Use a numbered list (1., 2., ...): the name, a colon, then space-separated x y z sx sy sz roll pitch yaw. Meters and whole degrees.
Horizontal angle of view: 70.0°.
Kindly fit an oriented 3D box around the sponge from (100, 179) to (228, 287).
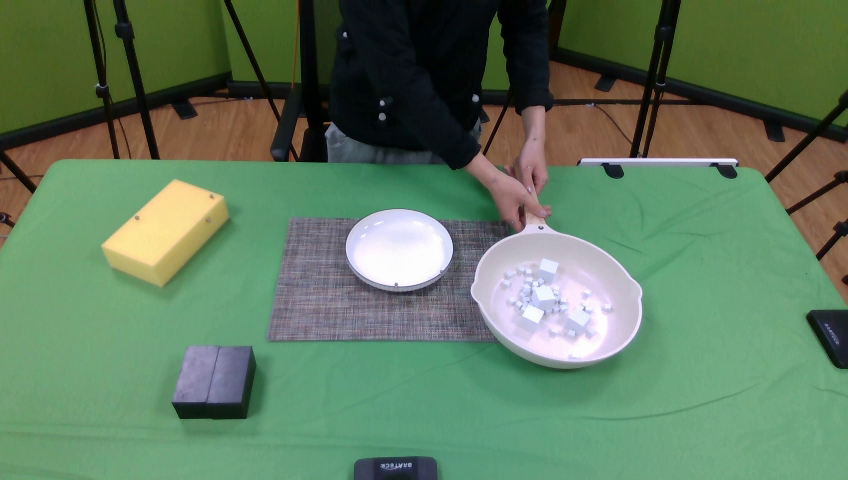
1. sponge: -0.486 -0.018 1.151 0.118 0.061 0.206 19 47 12

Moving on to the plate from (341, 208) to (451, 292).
1. plate: -0.053 0.022 1.156 0.208 0.039 0.206 2 46 -2

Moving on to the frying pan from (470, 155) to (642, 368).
1. frying pan: 0.222 0.022 1.134 0.307 0.103 0.484 0 55 -7
